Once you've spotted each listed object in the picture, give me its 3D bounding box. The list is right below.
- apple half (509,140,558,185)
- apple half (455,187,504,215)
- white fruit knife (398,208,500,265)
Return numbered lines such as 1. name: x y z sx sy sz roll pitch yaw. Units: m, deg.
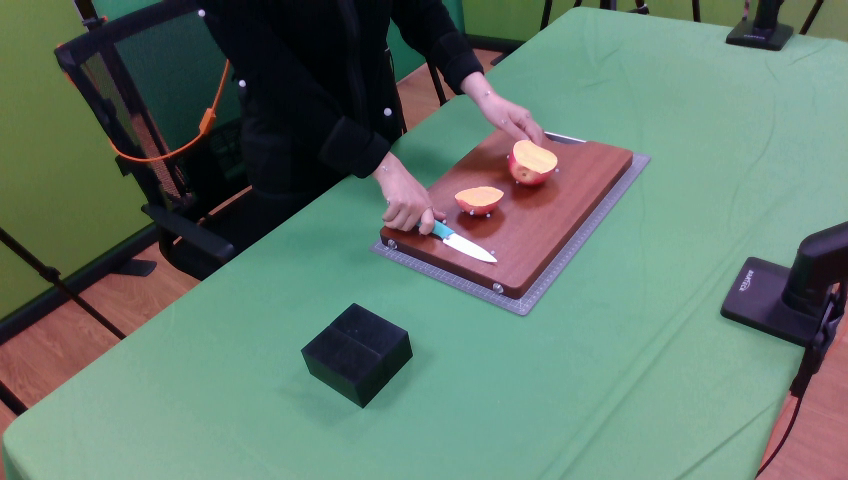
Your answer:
1. apple half: 0.180 -0.124 1.027 0.081 0.053 0.074 25 45 3
2. apple half: 0.094 -0.060 0.988 0.081 0.033 0.081 -4 24 2
3. white fruit knife: 0.038 -0.007 0.951 0.205 0.016 0.027 29 82 35
